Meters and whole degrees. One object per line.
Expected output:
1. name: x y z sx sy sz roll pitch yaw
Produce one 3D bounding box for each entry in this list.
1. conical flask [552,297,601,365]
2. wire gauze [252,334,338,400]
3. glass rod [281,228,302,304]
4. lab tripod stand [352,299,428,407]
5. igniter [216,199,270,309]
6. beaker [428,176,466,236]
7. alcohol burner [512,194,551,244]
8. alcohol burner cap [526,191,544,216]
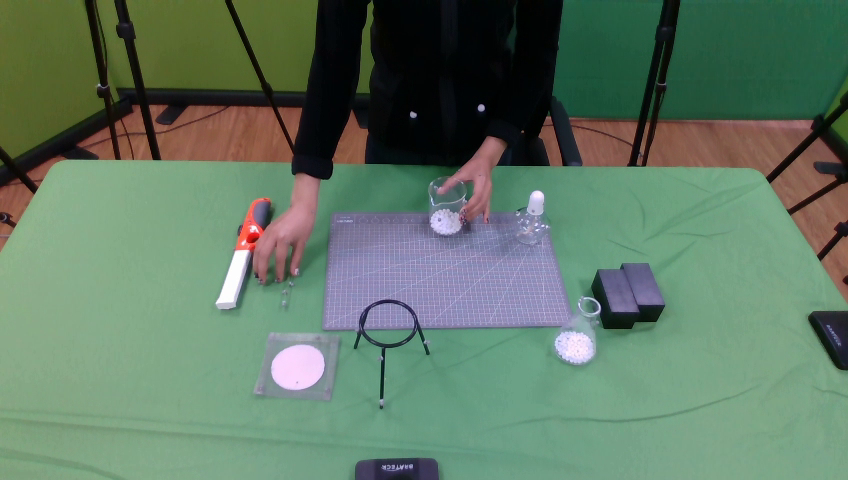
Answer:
1. conical flask: 0.261 0.147 1.009 0.075 0.122 0.075 2 46 -2
2. wire gauze: -0.209 0.204 0.996 0.125 0.011 0.120 3 45 1
3. glass rod: -0.250 0.045 1.146 0.008 0.008 0.198 3 43 -1
4. lab tripod stand: -0.056 0.166 0.958 0.148 0.132 0.147 3 44 -2
5. igniter: -0.341 0.016 1.153 0.057 0.025 0.275 -4 45 7
6. beaker: 0.041 -0.062 1.186 0.073 0.101 0.084 27 54 22
7. alcohol burner: 0.215 -0.048 1.196 0.078 0.119 0.077 4 46 -4
8. alcohol burner cap: 0.216 -0.073 1.170 0.034 0.048 0.033 0 42 1
